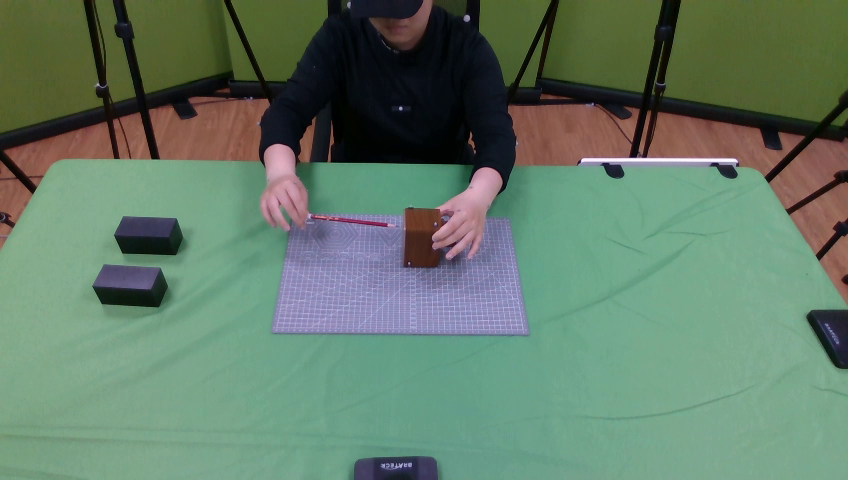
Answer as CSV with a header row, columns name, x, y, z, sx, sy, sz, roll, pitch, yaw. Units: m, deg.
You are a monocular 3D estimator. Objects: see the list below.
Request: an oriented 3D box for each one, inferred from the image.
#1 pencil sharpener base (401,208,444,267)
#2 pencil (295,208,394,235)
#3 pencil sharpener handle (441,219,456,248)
name,x,y,z,sx,sy,sz,roll,pitch,yaw
pencil sharpener base,-0.004,-0.003,1.137,0.077,0.107,0.061,1,45,-4
pencil,-0.148,-0.033,1.123,0.194,0.012,0.012,14,46,8
pencil sharpener handle,0.047,-0.011,1.132,0.031,0.068,0.036,1,46,-4
